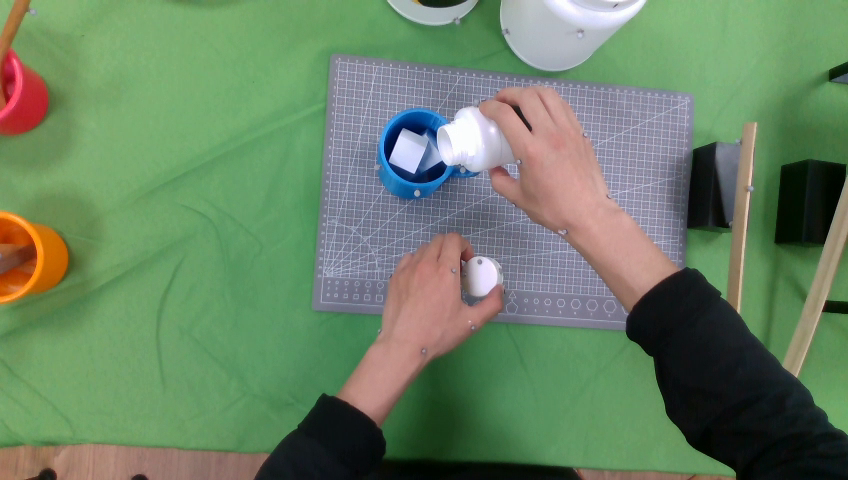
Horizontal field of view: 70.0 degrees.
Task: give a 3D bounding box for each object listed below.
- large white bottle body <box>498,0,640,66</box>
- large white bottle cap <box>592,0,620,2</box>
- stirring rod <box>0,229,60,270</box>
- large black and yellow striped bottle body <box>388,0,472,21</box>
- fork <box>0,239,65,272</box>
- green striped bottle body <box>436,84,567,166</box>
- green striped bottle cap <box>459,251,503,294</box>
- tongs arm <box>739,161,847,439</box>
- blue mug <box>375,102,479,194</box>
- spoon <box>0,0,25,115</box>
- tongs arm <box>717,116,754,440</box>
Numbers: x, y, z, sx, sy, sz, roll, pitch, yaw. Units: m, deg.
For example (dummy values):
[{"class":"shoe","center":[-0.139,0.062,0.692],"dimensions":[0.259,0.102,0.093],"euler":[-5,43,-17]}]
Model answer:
[{"class":"large white bottle body","center":[0.161,-0.278,0.651],"dimensions":[0.131,0.184,0.130],"euler":[0,88,-7]},{"class":"large white bottle cap","center":[0.170,-0.282,0.567],"dimensions":[0.115,0.018,0.114],"euler":[0,88,-7]},{"class":"stirring rod","center":[-0.441,0.034,0.596],"dimensions":[0.014,0.006,0.175],"euler":[52,42,-6]},{"class":"large black and yellow striped bottle body","center":[0.014,-0.326,0.634],"dimensions":[0.131,0.184,0.130],"euler":[0,88,-6]},{"class":"fork","center":[-0.461,-0.005,0.588],"dimensions":[0.209,0.018,0.028],"euler":[27,82,-49]},{"class":"green striped bottle body","center":[0.072,-0.110,0.589],"dimensions":[0.119,0.063,0.063],"euler":[-16,90,-18]},{"class":"green striped bottle cap","center":[0.059,0.034,0.636],"dimensions":[0.044,0.020,0.044],"euler":[-7,74,25]},{"class":"tongs arm","center":[0.458,0.058,0.722],"dimensions":[0.028,0.027,0.388],"euler":[12,99,-15]},{"class":"blue mug","center":[0.004,-0.094,0.665],"dimensions":[0.117,0.106,0.082],"euler":[12,87,-6]},{"class":"spoon","center":[-0.419,-0.186,0.599],"dimensions":[0.041,0.021,0.194],"euler":[51,127,0]},{"class":"tongs arm","center":[0.377,0.052,0.710],"dimensions":[0.051,0.026,0.386],"euler":[-1,101,-9]}]
